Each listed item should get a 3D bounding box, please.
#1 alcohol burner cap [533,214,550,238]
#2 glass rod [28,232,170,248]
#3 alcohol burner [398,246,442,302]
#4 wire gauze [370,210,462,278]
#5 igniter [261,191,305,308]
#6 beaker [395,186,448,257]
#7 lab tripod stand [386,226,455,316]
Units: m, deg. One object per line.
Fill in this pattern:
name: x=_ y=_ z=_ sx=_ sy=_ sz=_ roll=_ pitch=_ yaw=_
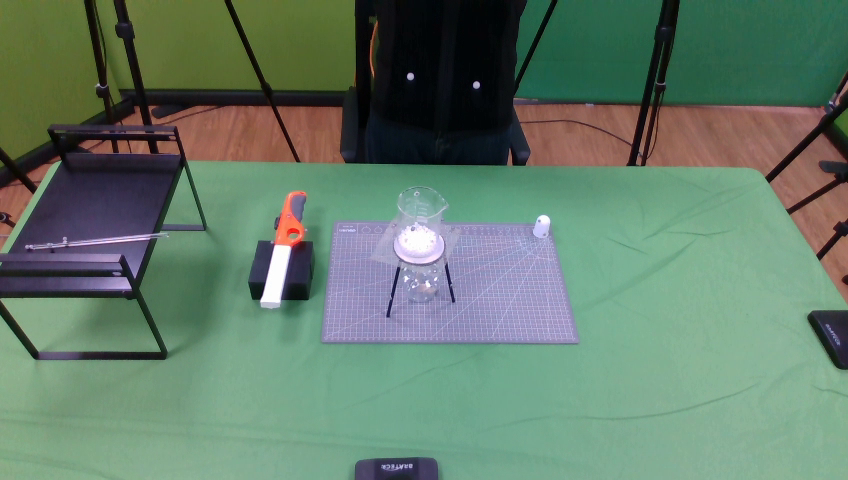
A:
alcohol burner cap: x=0.241 y=-0.031 z=1.228 sx=0.034 sy=0.048 sz=0.033 roll=1 pitch=46 yaw=-1
glass rod: x=-0.491 y=-0.001 z=0.919 sx=0.200 sy=0.008 sz=0.008 roll=-5 pitch=47 yaw=-10
alcohol burner: x=-0.006 y=0.055 z=1.078 sx=0.078 sy=0.119 sz=0.077 roll=3 pitch=44 yaw=-3
wire gauze: x=-0.012 y=0.007 z=1.019 sx=0.121 sy=0.011 sz=0.124 roll=16 pitch=51 yaw=13
igniter: x=-0.255 y=0.007 z=1.104 sx=0.057 sy=0.025 sz=0.275 roll=5 pitch=47 yaw=-4
beaker: x=-0.007 y=-0.027 z=0.984 sx=0.084 sy=0.101 sz=0.073 roll=1 pitch=48 yaw=-4
lab tripod stand: x=-0.013 y=0.054 z=1.064 sx=0.148 sy=0.132 sz=0.147 roll=2 pitch=48 yaw=-2
